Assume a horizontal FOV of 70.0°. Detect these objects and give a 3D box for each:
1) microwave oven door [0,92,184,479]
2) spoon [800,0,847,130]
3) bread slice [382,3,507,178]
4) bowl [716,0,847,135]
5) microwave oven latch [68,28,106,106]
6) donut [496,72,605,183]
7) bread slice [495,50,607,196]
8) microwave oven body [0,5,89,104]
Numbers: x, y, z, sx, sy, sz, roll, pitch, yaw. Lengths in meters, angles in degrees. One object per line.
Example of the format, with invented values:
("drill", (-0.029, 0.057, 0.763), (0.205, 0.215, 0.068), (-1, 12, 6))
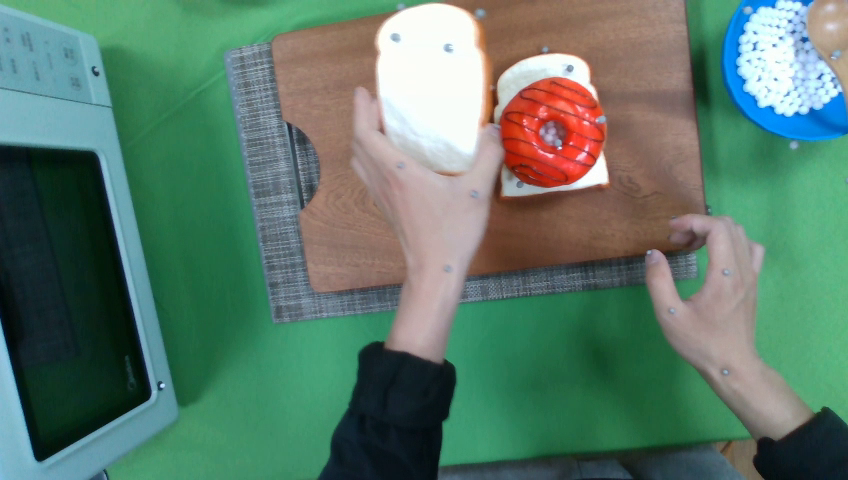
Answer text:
("microwave oven door", (-0.343, 0.044, 0.565), (0.039, 0.244, 0.356), (-11, 95, 11))
("spoon", (0.349, -0.121, 0.503), (0.041, 0.022, 0.192), (-4, 76, 2))
("bread slice", (0.011, -0.117, 0.487), (0.106, 0.018, 0.134), (-2, 101, 30))
("bowl", (0.328, -0.165, 0.533), (0.151, 0.077, 0.151), (1, 97, 10))
("microwave oven latch", (-0.366, -0.182, 0.644), (0.030, 0.029, 0.079), (-10, 96, 10))
("donut", (0.113, -0.100, 0.547), (0.099, 0.048, 0.099), (1, 98, 9))
("bread slice", (0.113, -0.111, 0.576), (0.105, 0.019, 0.132), (-9, 97, 9))
("microwave oven body", (-0.492, 0.027, 0.591), (0.325, 0.260, 0.442), (-10, 95, 10))
